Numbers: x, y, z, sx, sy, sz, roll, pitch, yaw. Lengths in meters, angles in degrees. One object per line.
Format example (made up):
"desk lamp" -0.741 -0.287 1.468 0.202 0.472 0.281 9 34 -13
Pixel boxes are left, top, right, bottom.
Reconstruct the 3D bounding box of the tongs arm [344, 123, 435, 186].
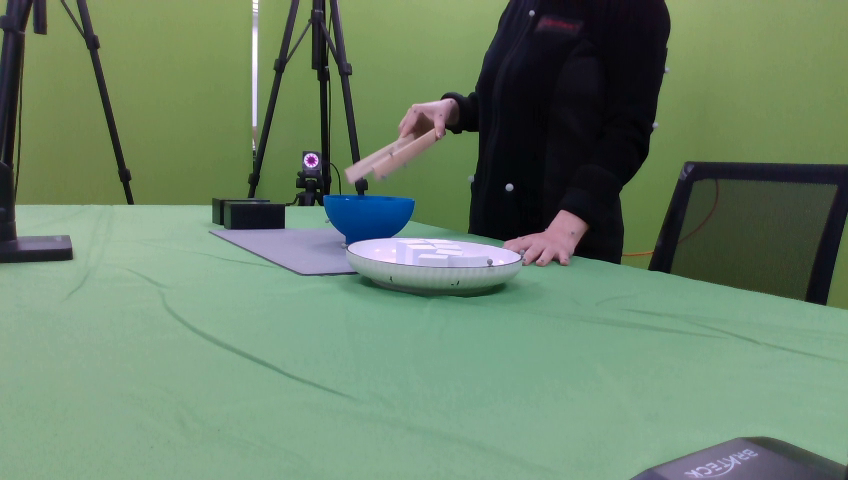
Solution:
"tongs arm" -0.055 -0.168 1.143 0.028 0.028 0.388 -16 14 27

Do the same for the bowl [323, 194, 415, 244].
"bowl" -0.091 -0.032 0.987 0.151 0.077 0.151 2 7 0

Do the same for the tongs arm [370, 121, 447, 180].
"tongs arm" -0.027 -0.173 1.130 0.050 0.026 0.386 -12 16 28

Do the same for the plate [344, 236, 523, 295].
"plate" 0.010 0.030 0.707 0.208 0.039 0.207 3 8 0
